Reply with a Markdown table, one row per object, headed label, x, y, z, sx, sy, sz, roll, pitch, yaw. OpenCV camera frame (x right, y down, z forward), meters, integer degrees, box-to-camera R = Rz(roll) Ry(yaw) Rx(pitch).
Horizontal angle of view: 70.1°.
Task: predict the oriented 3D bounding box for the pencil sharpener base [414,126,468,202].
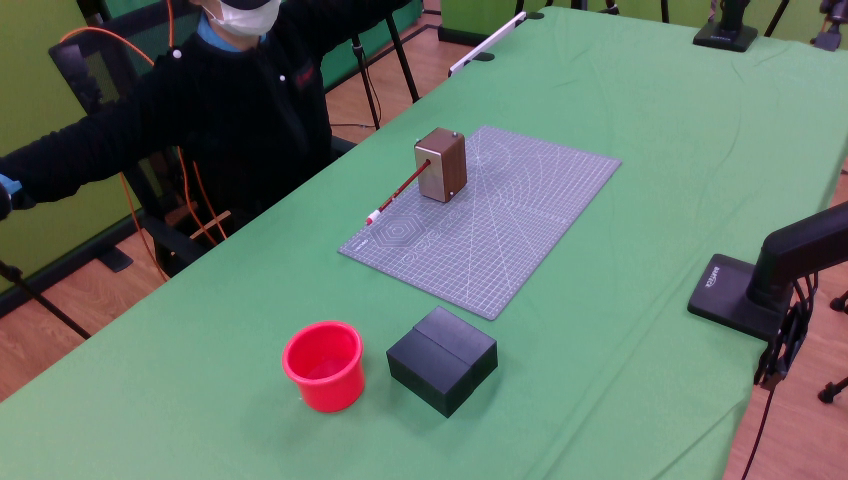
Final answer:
| label | x | y | z | sx | sy | sz | roll | pitch | yaw |
| --- | --- | --- | --- | --- | --- | --- | --- | --- | --- |
| pencil sharpener base | 0.032 | -0.132 | 1.047 | 0.061 | 0.107 | 0.077 | 21 | 48 | 30 |

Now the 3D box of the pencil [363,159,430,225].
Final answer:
| label | x | y | z | sx | sy | sz | roll | pitch | yaw |
| --- | --- | --- | --- | --- | --- | --- | --- | --- | --- |
| pencil | -0.033 | -0.088 | 0.978 | 0.012 | 0.012 | 0.194 | 24 | 57 | 32 |

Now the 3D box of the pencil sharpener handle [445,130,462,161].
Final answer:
| label | x | y | z | sx | sy | sz | roll | pitch | yaw |
| --- | --- | --- | --- | --- | --- | --- | --- | --- | --- |
| pencil sharpener handle | 0.057 | -0.172 | 1.071 | 0.036 | 0.068 | 0.031 | 31 | 52 | 19 |
